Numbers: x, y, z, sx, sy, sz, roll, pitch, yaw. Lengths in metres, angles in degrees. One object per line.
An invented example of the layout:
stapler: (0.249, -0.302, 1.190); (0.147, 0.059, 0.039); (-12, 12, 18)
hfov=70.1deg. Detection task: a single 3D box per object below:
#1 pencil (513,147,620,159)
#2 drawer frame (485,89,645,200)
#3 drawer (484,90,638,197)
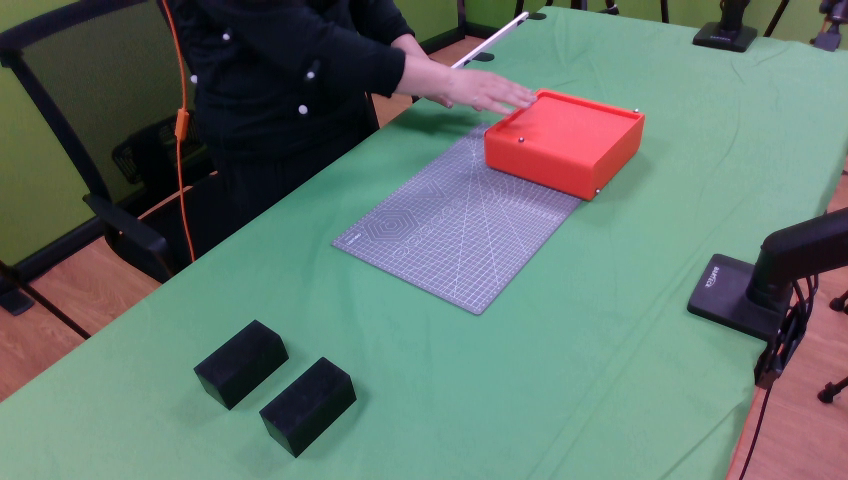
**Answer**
pencil: (0.259, -0.157, 1.101); (0.194, 0.012, 0.012); (-4, 40, 3)
drawer frame: (0.253, -0.180, 1.094); (0.212, 0.083, 0.202); (24, 48, 31)
drawer: (0.247, -0.180, 1.097); (0.210, 0.073, 0.195); (25, 49, 31)
